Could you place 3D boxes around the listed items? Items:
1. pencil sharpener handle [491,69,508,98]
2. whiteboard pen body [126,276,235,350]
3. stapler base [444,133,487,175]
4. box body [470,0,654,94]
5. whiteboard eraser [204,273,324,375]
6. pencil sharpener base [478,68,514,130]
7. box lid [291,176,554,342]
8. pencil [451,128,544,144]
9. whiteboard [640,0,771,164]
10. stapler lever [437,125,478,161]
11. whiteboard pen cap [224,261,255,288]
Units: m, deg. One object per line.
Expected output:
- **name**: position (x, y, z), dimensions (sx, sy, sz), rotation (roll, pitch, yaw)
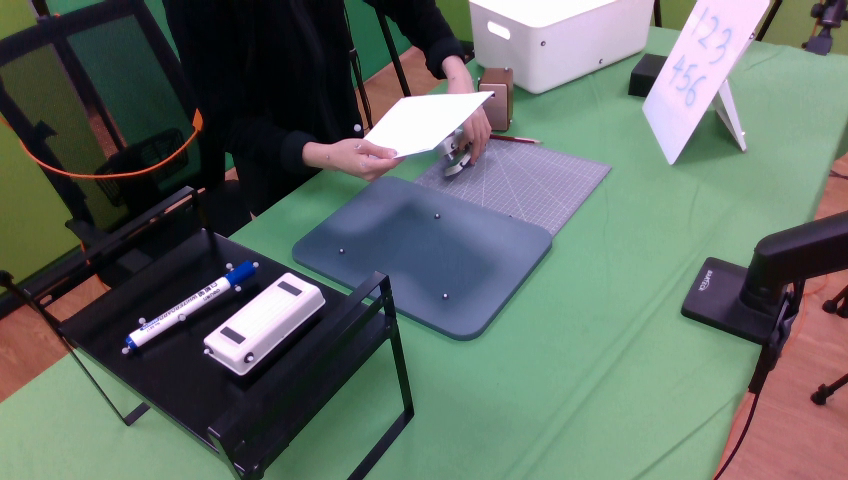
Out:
- **pencil sharpener handle**: position (0.155, -0.329, 1.254), dimensions (0.036, 0.068, 0.030), rotation (17, 44, 3)
- **whiteboard pen body**: position (-0.251, 0.070, 0.649), dimensions (0.141, 0.017, 0.017), rotation (-36, 48, -26)
- **stapler base**: position (0.074, -0.169, 1.144), dimensions (0.041, 0.024, 0.131), rotation (-7, 32, 39)
- **box body**: position (0.319, -0.498, 1.405), dimensions (0.365, 0.161, 0.252), rotation (-26, 43, -21)
- **whiteboard eraser**: position (-0.157, 0.084, 0.605), dimensions (0.055, 0.042, 0.113), rotation (24, 49, 30)
- **pencil sharpener base**: position (0.148, -0.286, 1.225), dimensions (0.061, 0.107, 0.076), rotation (5, 42, 15)
- **box lid**: position (-0.005, 0.011, 0.971), dimensions (0.368, 0.015, 0.264), rotation (21, 49, 30)
- **pencil**: position (0.145, -0.206, 1.205), dimensions (0.193, 0.012, 0.012), rotation (12, 44, 20)
- **whiteboard**: position (0.543, -0.299, 1.076), dimensions (0.144, 0.305, 0.216), rotation (12, 40, -7)
- **stapler lever**: position (0.062, -0.190, 1.135), dimensions (0.026, 0.040, 0.118), rotation (-7, 32, 39)
- **whiteboard pen cap**: position (-0.207, 0.039, 0.677), dimensions (0.033, 0.018, 0.018), rotation (-36, 47, -18)
